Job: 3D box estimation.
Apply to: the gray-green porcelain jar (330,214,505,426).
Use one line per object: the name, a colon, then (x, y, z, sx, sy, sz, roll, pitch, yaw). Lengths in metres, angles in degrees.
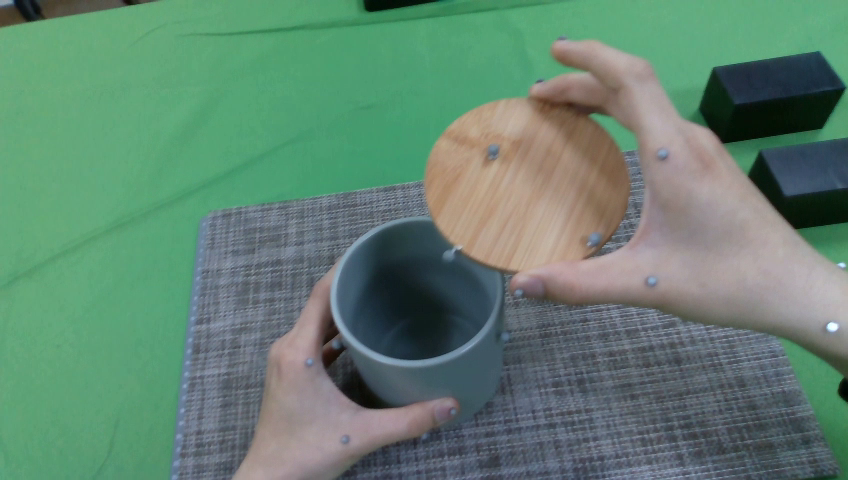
gray-green porcelain jar: (0.001, 0.061, 0.411, 0.106, 0.127, 0.105, -3, 55, 4)

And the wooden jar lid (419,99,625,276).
wooden jar lid: (0.052, -0.029, 0.328, 0.108, 0.021, 0.107, -1, 65, 3)
